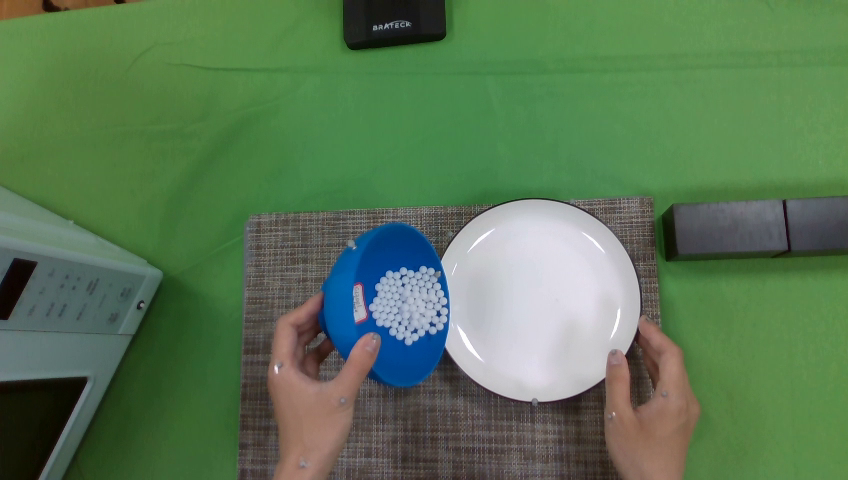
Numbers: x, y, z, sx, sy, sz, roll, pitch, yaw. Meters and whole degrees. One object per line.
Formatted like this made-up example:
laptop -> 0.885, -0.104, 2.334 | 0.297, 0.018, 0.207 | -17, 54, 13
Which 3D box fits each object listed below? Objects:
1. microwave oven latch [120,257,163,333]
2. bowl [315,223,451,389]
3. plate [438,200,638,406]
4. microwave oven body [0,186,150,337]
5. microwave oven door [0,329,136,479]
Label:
microwave oven latch -> -0.321, 0.062, 0.674 | 0.030, 0.029, 0.079 | 26, 86, 12
bowl -> -0.048, 0.063, 0.570 | 0.076, 0.152, 0.151 | -8, 78, 34
plate -> 0.109, 0.063, 0.622 | 0.207, 0.039, 0.207 | -1, 80, 8
microwave oven body -> -0.544, 0.146, 0.595 | 0.325, 0.261, 0.441 | 24, 86, 11
microwave oven door -> -0.432, 0.241, 0.557 | 0.039, 0.245, 0.355 | 24, 85, 13
